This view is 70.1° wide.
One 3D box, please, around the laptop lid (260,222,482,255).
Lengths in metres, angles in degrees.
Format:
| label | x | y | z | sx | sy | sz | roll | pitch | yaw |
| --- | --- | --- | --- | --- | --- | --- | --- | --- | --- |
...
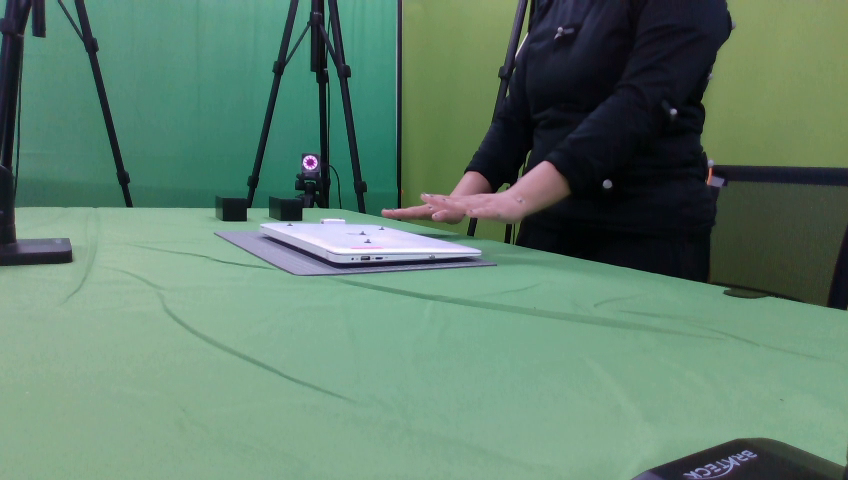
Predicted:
| label | x | y | z | sx | sy | sz | roll | pitch | yaw |
| --- | --- | --- | --- | --- | --- | --- | --- | --- | --- |
| laptop lid | -0.100 | -0.005 | 0.962 | 0.243 | 0.013 | 0.355 | 1 | 7 | -30 |

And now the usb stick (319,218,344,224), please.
| label | x | y | z | sx | sy | sz | roll | pitch | yaw |
| --- | --- | --- | --- | --- | --- | --- | --- | --- | --- |
| usb stick | -0.184 | -0.027 | 1.153 | 0.059 | 0.027 | 0.021 | -5 | 14 | -31 |

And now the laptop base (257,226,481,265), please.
| label | x | y | z | sx | sy | sz | roll | pitch | yaw |
| --- | --- | --- | --- | --- | --- | --- | --- | --- | --- |
| laptop base | -0.102 | 0.007 | 0.962 | 0.237 | 0.023 | 0.352 | 2 | 6 | -32 |
